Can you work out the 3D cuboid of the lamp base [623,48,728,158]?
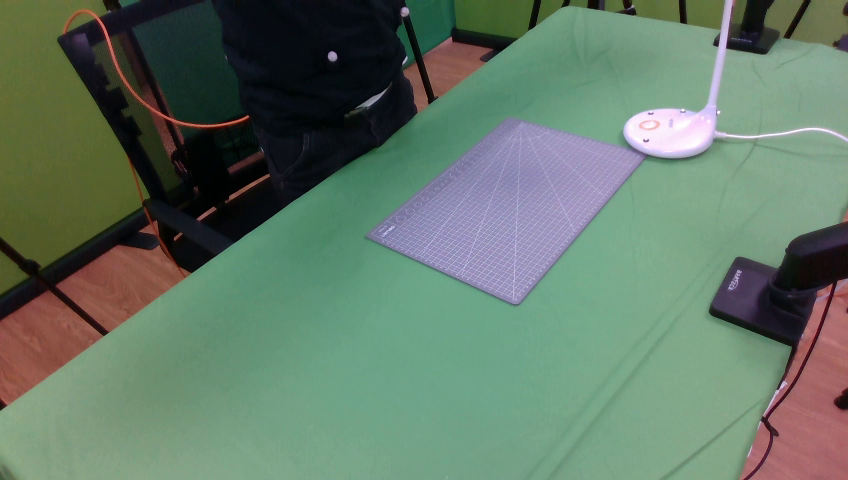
[{"bbox_3d":[0.463,-0.260,1.084,0.179,0.181,0.160,3,42,7],"label":"lamp base"}]
